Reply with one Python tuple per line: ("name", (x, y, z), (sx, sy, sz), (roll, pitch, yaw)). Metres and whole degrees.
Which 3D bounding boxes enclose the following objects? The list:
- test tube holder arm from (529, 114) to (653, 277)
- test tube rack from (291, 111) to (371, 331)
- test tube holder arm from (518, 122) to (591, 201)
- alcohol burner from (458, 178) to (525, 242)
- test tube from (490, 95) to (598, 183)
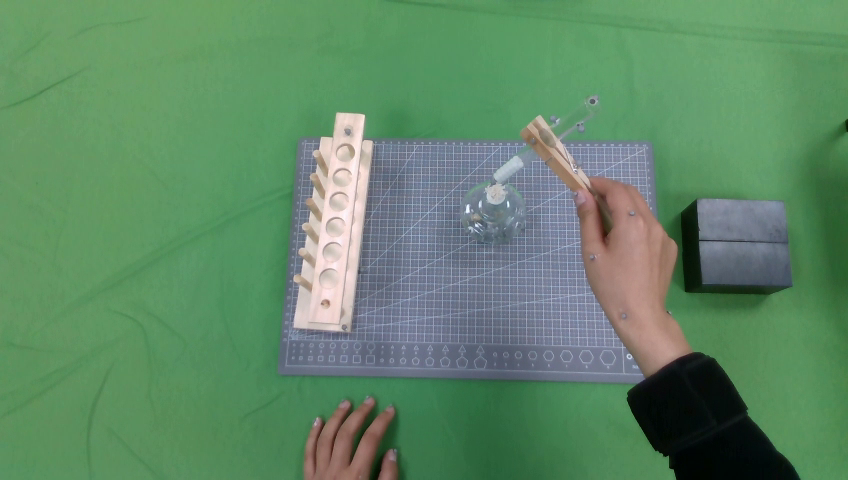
("test tube holder arm", (0.152, -0.039, 0.551), (0.013, 0.015, 0.178), (-40, 93, -27))
("test tube rack", (-0.112, -0.022, 0.704), (0.067, 0.085, 0.241), (5, 76, 2))
("test tube holder arm", (0.119, -0.070, 0.545), (0.088, 0.015, 0.010), (45, 63, -6))
("alcohol burner", (0.077, -0.039, 0.690), (0.078, 0.119, 0.077), (0, 77, 2))
("test tube", (0.103, -0.087, 0.551), (0.017, 0.150, 0.017), (10, 67, -24))
